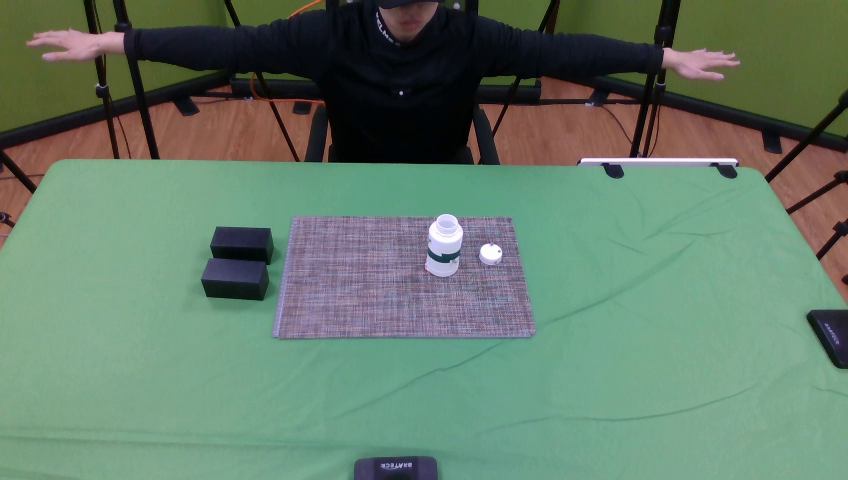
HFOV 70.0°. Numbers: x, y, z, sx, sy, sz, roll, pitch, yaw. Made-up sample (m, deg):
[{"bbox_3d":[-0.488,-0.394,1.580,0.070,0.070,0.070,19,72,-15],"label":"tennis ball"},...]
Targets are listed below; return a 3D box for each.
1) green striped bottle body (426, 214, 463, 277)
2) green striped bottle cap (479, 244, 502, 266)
[{"bbox_3d":[0.037,0.008,1.121,0.063,0.120,0.063,2,46,-2],"label":"green striped bottle body"},{"bbox_3d":[0.130,0.029,1.181,0.044,0.020,0.044,0,46,0],"label":"green striped bottle cap"}]
